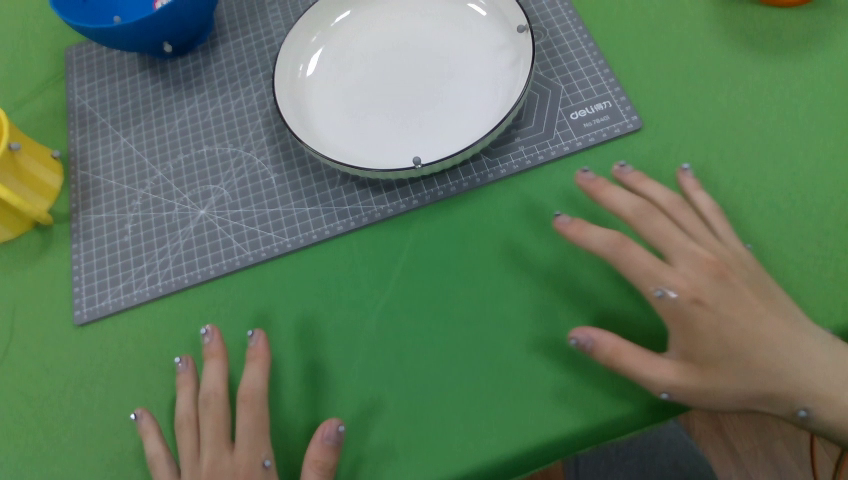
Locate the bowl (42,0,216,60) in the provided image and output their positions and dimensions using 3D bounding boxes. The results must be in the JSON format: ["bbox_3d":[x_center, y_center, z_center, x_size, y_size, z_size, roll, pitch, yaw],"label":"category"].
[{"bbox_3d":[-0.243,-0.216,0.538,0.151,0.077,0.150,-4,64,8],"label":"bowl"}]

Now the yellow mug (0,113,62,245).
[{"bbox_3d":[-0.349,-0.046,0.485,0.130,0.064,0.099,28,72,19],"label":"yellow mug"}]

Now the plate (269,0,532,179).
[{"bbox_3d":[-0.019,-0.134,0.484,0.209,0.038,0.207,-3,64,7],"label":"plate"}]
